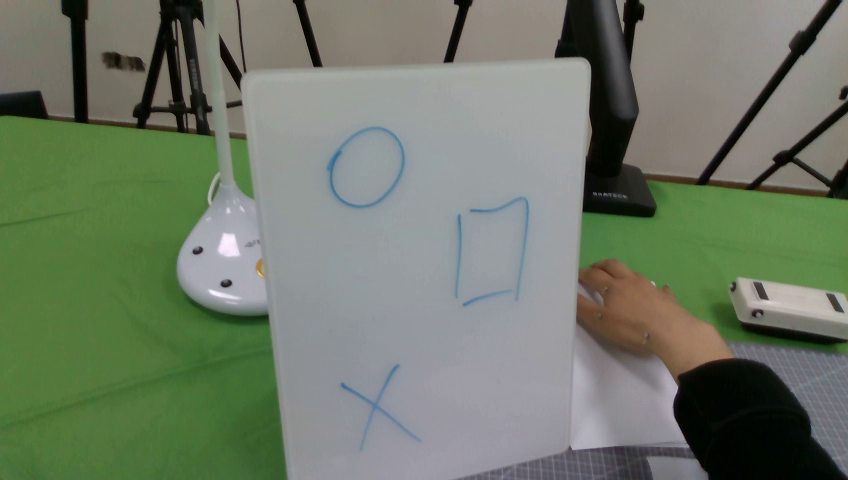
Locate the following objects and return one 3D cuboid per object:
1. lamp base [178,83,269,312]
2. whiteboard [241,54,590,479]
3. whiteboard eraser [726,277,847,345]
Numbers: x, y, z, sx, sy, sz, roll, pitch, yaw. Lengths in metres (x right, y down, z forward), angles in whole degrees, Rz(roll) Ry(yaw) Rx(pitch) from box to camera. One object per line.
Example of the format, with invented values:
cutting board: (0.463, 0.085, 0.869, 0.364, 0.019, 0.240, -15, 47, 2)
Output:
lamp base: (-0.173, -0.049, 0.591, 0.161, 0.181, 0.177, -27, 45, -36)
whiteboard: (-0.010, 0.020, 0.464, 0.218, 0.307, 0.142, -7, 19, -15)
whiteboard eraser: (0.373, 0.073, 0.620, 0.112, 0.042, 0.055, 10, 37, 6)
